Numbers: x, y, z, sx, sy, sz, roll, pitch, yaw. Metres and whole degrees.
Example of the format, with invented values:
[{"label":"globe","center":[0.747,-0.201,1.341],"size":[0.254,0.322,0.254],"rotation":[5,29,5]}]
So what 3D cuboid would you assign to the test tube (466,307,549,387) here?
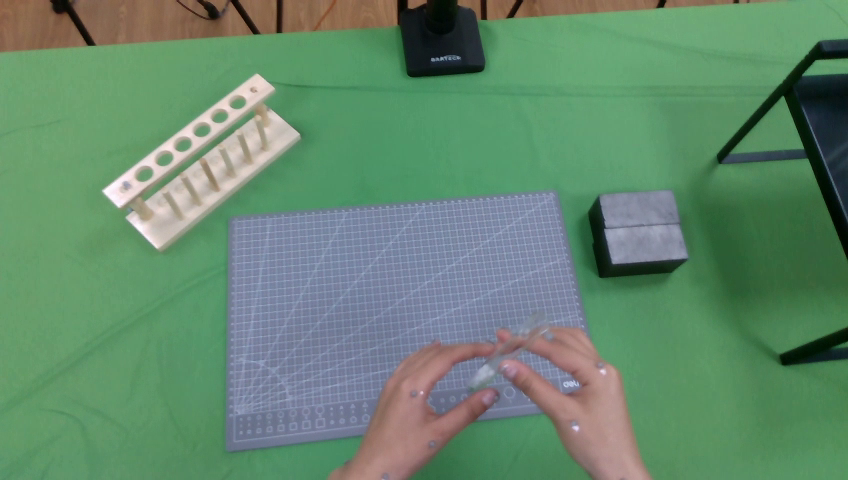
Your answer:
[{"label":"test tube","center":[0.064,0.091,0.495],"size":[0.017,0.151,0.017],"rotation":[8,58,-13]}]

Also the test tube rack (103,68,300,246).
[{"label":"test tube rack","center":[-0.279,-0.109,0.790],"size":[0.066,0.086,0.242],"rotation":[41,71,13]}]
